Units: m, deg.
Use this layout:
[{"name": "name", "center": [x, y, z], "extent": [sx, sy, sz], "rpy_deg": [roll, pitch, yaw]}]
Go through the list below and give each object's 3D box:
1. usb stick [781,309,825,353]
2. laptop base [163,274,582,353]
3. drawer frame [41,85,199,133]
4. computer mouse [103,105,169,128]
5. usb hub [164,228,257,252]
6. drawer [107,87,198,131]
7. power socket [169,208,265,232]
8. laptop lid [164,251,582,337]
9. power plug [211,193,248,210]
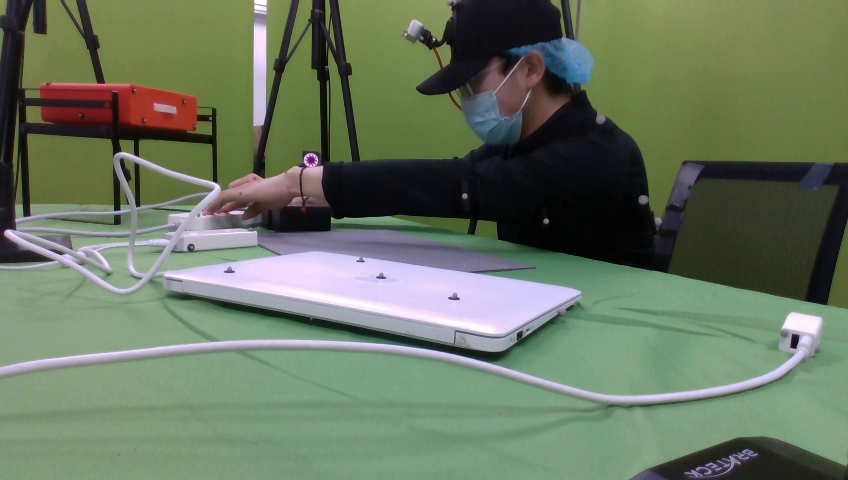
[{"name": "usb stick", "center": [0.312, 0.072, 0.496], "extent": [0.027, 0.021, 0.059], "rpy_deg": [7, 15, 34]}, {"name": "laptop base", "center": [-0.046, 0.053, 0.598], "extent": [0.353, 0.023, 0.236], "rpy_deg": [6, 6, 28]}, {"name": "drawer frame", "center": [-0.611, -0.266, 1.235], "extent": [0.213, 0.082, 0.202], "rpy_deg": [4, 8, 15]}, {"name": "computer mouse", "center": [-0.581, -0.249, 1.223], "extent": [0.118, 0.041, 0.062], "rpy_deg": [2, 3, -39]}, {"name": "usb hub", "center": [-0.313, 0.000, 0.894], "extent": [0.049, 0.025, 0.126], "rpy_deg": [9, 10, 41]}, {"name": "drawer", "center": [-0.609, -0.264, 1.235], "extent": [0.211, 0.073, 0.195], "rpy_deg": [4, 8, 16]}, {"name": "power socket", "center": [-0.379, -0.038, 1.128], "extent": [0.072, 0.032, 0.227], "rpy_deg": [4, 8, 17]}, {"name": "laptop lid", "center": [-0.044, 0.040, 0.598], "extent": [0.355, 0.013, 0.243], "rpy_deg": [7, 7, 30]}, {"name": "power plug", "center": [-0.383, -0.069, 1.205], "extent": [0.072, 0.052, 0.035], "rpy_deg": [3, 12, 29]}]
